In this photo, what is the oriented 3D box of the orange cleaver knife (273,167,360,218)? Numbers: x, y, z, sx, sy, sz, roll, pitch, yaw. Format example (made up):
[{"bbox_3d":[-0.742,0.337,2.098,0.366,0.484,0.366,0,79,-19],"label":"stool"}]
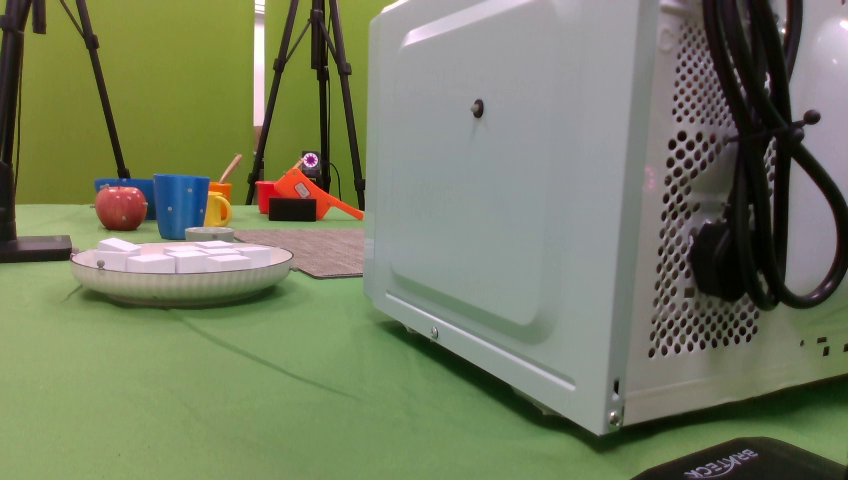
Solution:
[{"bbox_3d":[-0.238,-0.091,1.381,0.212,0.077,0.012,31,0,-19],"label":"orange cleaver knife"}]

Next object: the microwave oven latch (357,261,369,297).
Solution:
[{"bbox_3d":[-0.019,0.033,0.530,0.079,0.029,0.030,-1,7,-27],"label":"microwave oven latch"}]

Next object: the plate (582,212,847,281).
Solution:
[{"bbox_3d":[0.239,0.003,0.510,0.209,0.038,0.209,2,7,0],"label":"plate"}]

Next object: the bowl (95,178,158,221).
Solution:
[{"bbox_3d":[-0.576,-0.081,1.217,0.151,0.077,0.151,3,8,0],"label":"bowl"}]

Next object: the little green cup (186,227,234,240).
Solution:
[{"bbox_3d":[-0.284,0.005,0.805,0.061,0.038,0.061,2,8,0],"label":"little green cup"}]

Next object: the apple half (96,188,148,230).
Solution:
[{"bbox_3d":[-0.517,-0.052,1.036,0.081,0.074,0.053,2,10,-26],"label":"apple half"}]

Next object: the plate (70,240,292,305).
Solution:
[{"bbox_3d":[-0.242,0.031,0.618,0.208,0.039,0.207,2,8,0],"label":"plate"}]

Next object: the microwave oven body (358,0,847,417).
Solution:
[{"bbox_3d":[0.211,-0.047,0.474,0.444,0.260,0.324,-1,7,-28],"label":"microwave oven body"}]

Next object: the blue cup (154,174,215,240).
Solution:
[{"bbox_3d":[-0.391,-0.053,0.978,0.093,0.100,0.092,4,6,0],"label":"blue cup"}]

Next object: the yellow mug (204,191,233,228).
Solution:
[{"bbox_3d":[-0.415,-0.057,1.131,0.130,0.064,0.100,6,8,16],"label":"yellow mug"}]

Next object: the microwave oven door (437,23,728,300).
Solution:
[{"bbox_3d":[0.181,-0.072,0.621,0.358,0.243,0.039,-2,8,-29],"label":"microwave oven door"}]

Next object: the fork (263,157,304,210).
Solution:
[{"bbox_3d":[-0.345,-0.143,1.506,0.028,0.019,0.207,-4,46,29],"label":"fork"}]

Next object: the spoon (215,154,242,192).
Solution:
[{"bbox_3d":[-0.439,-0.124,1.318,0.041,0.193,0.022,6,-36,16],"label":"spoon"}]

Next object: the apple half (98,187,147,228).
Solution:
[{"bbox_3d":[-0.534,-0.059,1.071,0.082,0.081,0.032,-1,11,-25],"label":"apple half"}]
